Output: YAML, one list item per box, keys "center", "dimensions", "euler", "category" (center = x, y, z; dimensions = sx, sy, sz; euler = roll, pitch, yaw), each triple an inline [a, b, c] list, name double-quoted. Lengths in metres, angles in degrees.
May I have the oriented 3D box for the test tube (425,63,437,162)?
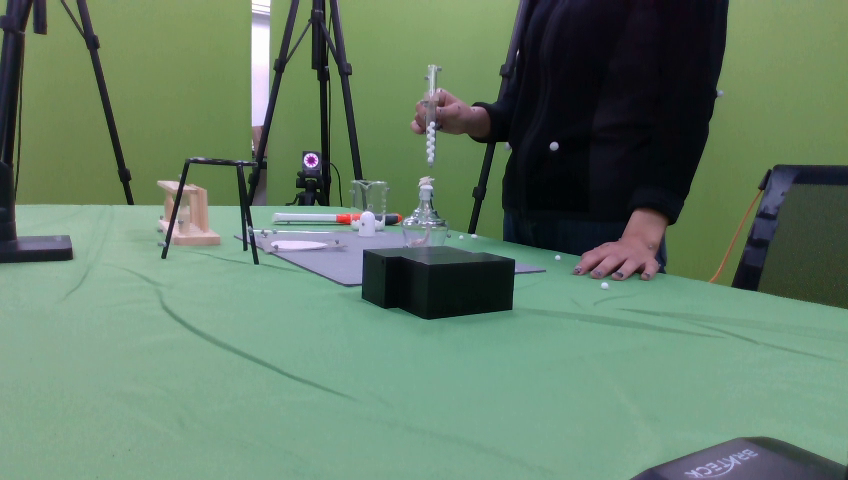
- center: [0.011, -0.195, 0.927]
  dimensions: [0.017, 0.150, 0.017]
  euler: [1, -1, 0]
  category: "test tube"

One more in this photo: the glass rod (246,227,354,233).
- center: [-0.224, -0.017, 1.109]
  dimensions: [0.201, 0.008, 0.008]
  euler: [1, 7, -27]
  category: "glass rod"

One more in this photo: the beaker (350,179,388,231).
- center: [-0.111, -0.069, 1.204]
  dimensions: [0.074, 0.100, 0.084]
  euler: [2, 8, 0]
  category: "beaker"

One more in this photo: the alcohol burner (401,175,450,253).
- center: [0.003, -0.040, 0.933]
  dimensions: [0.078, 0.119, 0.078]
  euler: [2, 9, 0]
  category: "alcohol burner"

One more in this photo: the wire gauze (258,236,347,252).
- center: [-0.189, 0.005, 0.931]
  dimensions: [0.122, 0.011, 0.124]
  euler: [1, 7, -21]
  category: "wire gauze"

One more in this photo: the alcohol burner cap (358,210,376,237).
- center: [-0.104, -0.030, 1.098]
  dimensions: [0.034, 0.048, 0.034]
  euler: [3, 7, 0]
  category: "alcohol burner cap"

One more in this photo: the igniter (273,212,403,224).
- center: [-0.179, -0.048, 1.290]
  dimensions: [0.278, 0.025, 0.057]
  euler: [-1, -2, -24]
  category: "igniter"

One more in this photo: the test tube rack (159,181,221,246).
- center: [-0.395, -0.050, 1.010]
  dimensions: [0.067, 0.085, 0.241]
  euler: [-1, 8, -28]
  category: "test tube rack"

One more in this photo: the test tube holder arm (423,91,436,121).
- center: [0.011, -0.218, 0.995]
  dimensions: [0.013, 0.015, 0.178]
  euler: [6, 1, 3]
  category: "test tube holder arm"

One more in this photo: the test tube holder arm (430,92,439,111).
- center: [0.016, -0.217, 0.950]
  dimensions: [0.010, 0.015, 0.088]
  euler: [5, 1, -4]
  category: "test tube holder arm"

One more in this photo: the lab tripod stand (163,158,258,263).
- center: [-0.265, -0.041, 0.802]
  dimensions: [0.148, 0.131, 0.148]
  euler: [4, 6, 0]
  category: "lab tripod stand"
